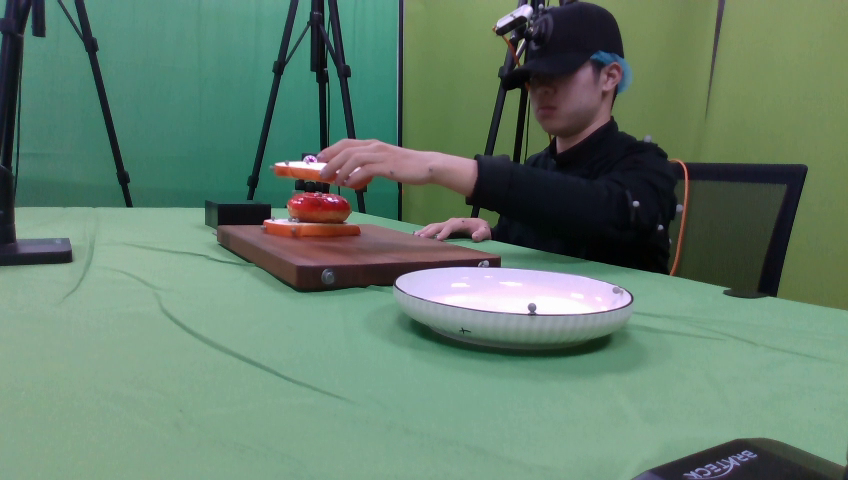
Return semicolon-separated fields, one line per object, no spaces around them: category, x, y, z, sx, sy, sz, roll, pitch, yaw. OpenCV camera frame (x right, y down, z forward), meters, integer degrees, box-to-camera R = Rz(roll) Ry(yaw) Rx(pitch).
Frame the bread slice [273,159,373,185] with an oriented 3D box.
bread slice;-0.149;-0.100;0.879;0.134;0.018;0.107;7;12;3

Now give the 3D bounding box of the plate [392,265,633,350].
plate;0.074;0.057;0.533;0.209;0.038;0.209;3;7;0

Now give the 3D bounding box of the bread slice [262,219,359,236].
bread slice;-0.179;-0.021;0.931;0.132;0.019;0.104;-1;7;-35

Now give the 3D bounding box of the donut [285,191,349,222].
donut;-0.165;-0.051;0.937;0.099;0.048;0.099;4;9;0
